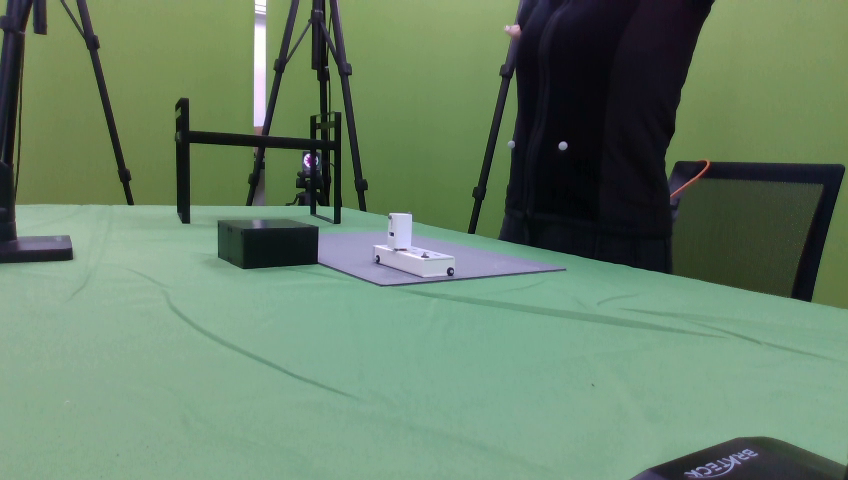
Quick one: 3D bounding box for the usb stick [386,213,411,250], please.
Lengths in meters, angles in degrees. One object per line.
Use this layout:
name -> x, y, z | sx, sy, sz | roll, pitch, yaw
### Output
usb stick -> -0.032, -0.005, 0.771 | 0.027, 0.059, 0.021 | -4, 9, -33

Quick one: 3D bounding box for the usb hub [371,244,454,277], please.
usb hub -> -0.018, 0.024, 0.777 | 0.050, 0.025, 0.124 | -3, 9, -35
